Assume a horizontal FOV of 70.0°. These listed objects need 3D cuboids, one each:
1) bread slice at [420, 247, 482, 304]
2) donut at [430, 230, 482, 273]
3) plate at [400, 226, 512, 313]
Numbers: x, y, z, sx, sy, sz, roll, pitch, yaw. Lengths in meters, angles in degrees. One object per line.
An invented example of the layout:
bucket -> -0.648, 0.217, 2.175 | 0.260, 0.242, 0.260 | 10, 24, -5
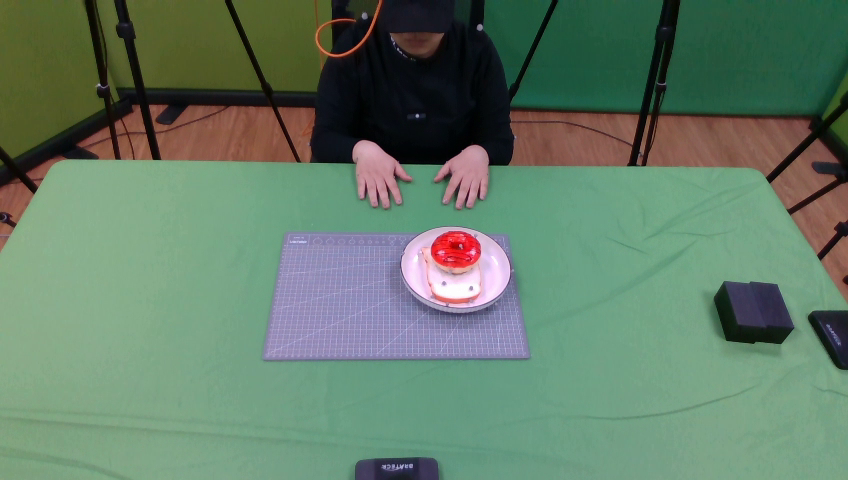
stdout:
bread slice -> 0.056, 0.062, 1.131 | 0.107, 0.018, 0.133 | -6, 47, -8
donut -> 0.060, 0.020, 1.132 | 0.099, 0.048, 0.098 | 0, 43, 0
plate -> 0.057, 0.057, 1.134 | 0.209, 0.038, 0.208 | 2, 46, -2
